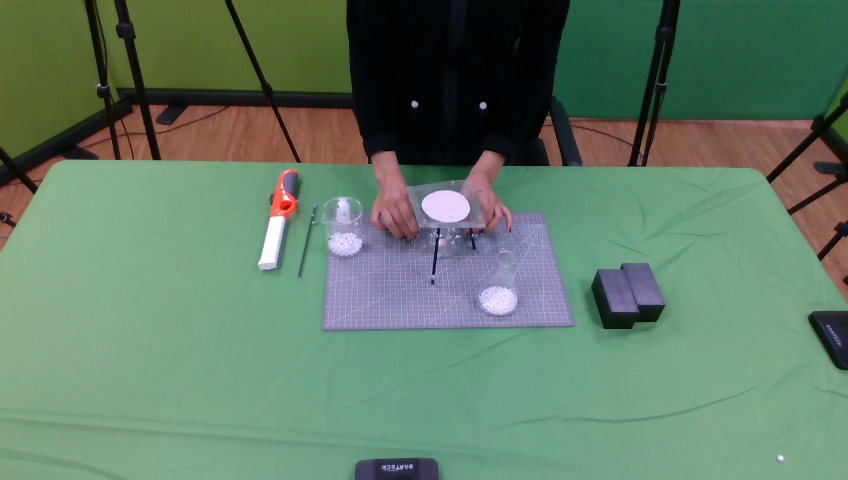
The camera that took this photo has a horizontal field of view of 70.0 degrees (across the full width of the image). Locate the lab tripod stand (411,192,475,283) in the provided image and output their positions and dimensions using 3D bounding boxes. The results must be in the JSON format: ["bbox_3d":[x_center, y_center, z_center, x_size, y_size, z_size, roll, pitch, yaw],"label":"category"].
[{"bbox_3d":[0.035,-0.015,1.136,0.148,0.132,0.147,3,44,-2],"label":"lab tripod stand"}]

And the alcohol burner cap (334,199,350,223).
[{"bbox_3d":[-0.167,-0.061,1.227,0.034,0.048,0.033,2,46,-2],"label":"alcohol burner cap"}]

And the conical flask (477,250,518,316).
[{"bbox_3d":[0.137,0.072,1.067,0.075,0.122,0.075,2,46,-2],"label":"conical flask"}]

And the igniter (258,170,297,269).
[{"bbox_3d":[-0.294,-0.050,1.221,0.057,0.025,0.274,-5,45,4],"label":"igniter"}]

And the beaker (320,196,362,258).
[{"bbox_3d":[-0.156,-0.020,1.150,0.084,0.101,0.073,-30,55,-28],"label":"beaker"}]

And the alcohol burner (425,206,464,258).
[{"bbox_3d":[0.041,-0.023,1.158,0.078,0.119,0.077,3,47,-3],"label":"alcohol burner"}]

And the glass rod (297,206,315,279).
[{"bbox_3d":[-0.232,0.000,1.191,0.008,0.008,0.198,3,46,-1],"label":"glass rod"}]

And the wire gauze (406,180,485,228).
[{"bbox_3d":[0.037,-0.064,1.089,0.125,0.011,0.120,-4,46,-10],"label":"wire gauze"}]
